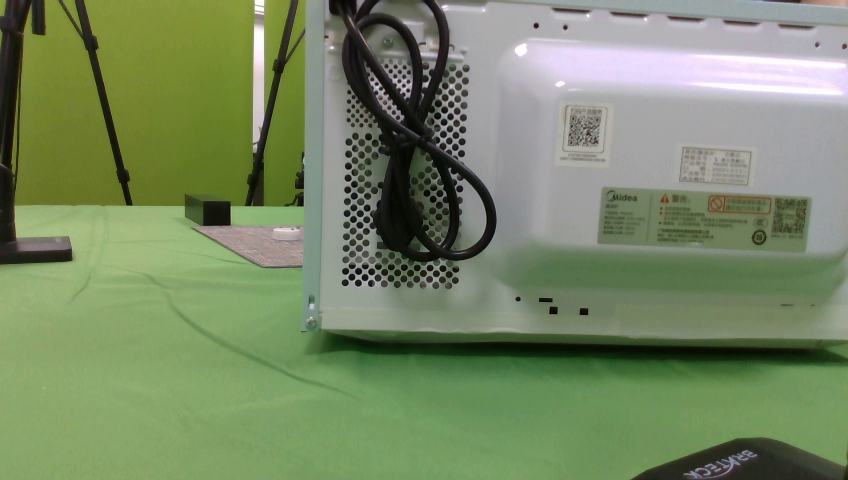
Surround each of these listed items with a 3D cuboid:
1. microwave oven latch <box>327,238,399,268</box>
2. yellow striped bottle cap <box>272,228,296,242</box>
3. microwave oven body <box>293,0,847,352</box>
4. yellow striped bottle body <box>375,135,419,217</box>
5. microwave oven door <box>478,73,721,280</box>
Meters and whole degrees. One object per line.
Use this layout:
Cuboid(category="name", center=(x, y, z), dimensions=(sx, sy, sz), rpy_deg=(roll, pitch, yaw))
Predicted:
Cuboid(category="microwave oven latch", center=(-0.069, 0.015, 0.694), dimensions=(0.079, 0.029, 0.030), rpy_deg=(3, 7, -3))
Cuboid(category="yellow striped bottle cap", center=(-0.232, -0.008, 1.012), dimensions=(0.044, 0.018, 0.044), rpy_deg=(4, 8, 0))
Cuboid(category="microwave oven body", center=(0.122, -0.055, 0.551), dimensions=(0.442, 0.260, 0.325), rpy_deg=(3, 7, -5))
Cuboid(category="yellow striped bottle body", center=(-0.040, -0.098, 0.918), dimensions=(0.063, 0.120, 0.063), rpy_deg=(3, 10, 0))
Cuboid(category="microwave oven door", center=(0.217, -0.093, 0.838), dimensions=(0.039, 0.243, 0.354), rpy_deg=(-4, 9, -40))
